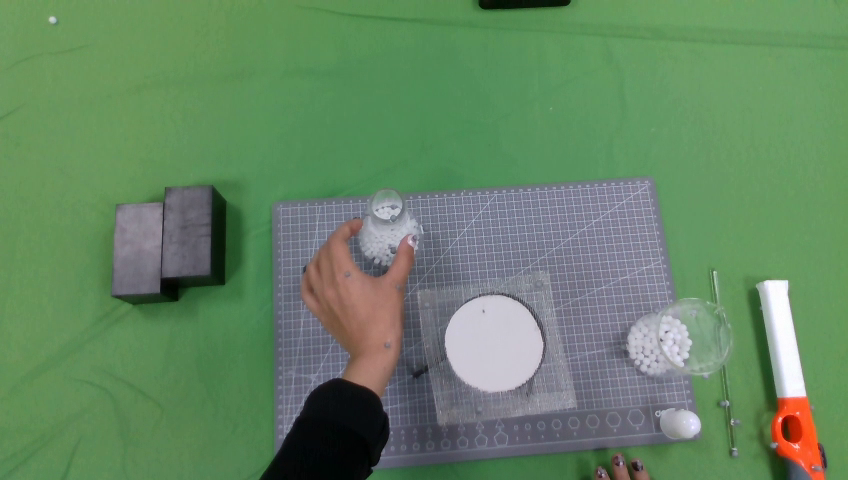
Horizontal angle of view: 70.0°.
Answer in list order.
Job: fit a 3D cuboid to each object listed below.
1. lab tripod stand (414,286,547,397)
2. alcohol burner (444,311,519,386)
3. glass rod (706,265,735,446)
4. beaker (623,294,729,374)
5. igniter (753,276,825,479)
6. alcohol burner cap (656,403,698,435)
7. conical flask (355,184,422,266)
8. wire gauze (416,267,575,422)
[{"bbox_3d":[0.060,0.106,0.600,0.148,0.132,0.147,0,77,-1],"label":"lab tripod stand"},{"bbox_3d":[0.059,0.107,0.610,0.078,0.120,0.077,0,73,0],"label":"alcohol burner"},{"bbox_3d":[0.328,0.124,0.671,0.008,0.008,0.198,0,76,-2],"label":"glass rod"},{"bbox_3d":[0.256,0.099,0.626,0.084,0.100,0.073,-40,80,-12],"label":"beaker"},{"bbox_3d":[0.393,0.175,0.650,0.057,0.025,0.275,1,76,-12],"label":"igniter"},{"bbox_3d":[0.267,0.187,0.633,0.034,0.048,0.033,1,75,-2],"label":"alcohol burner cap"},{"bbox_3d":[-0.039,-0.021,0.635,0.075,0.122,0.075,0,75,-1],"label":"conical flask"},{"bbox_3d":[0.062,0.091,0.534,0.125,0.011,0.121,-8,76,-4],"label":"wire gauze"}]
